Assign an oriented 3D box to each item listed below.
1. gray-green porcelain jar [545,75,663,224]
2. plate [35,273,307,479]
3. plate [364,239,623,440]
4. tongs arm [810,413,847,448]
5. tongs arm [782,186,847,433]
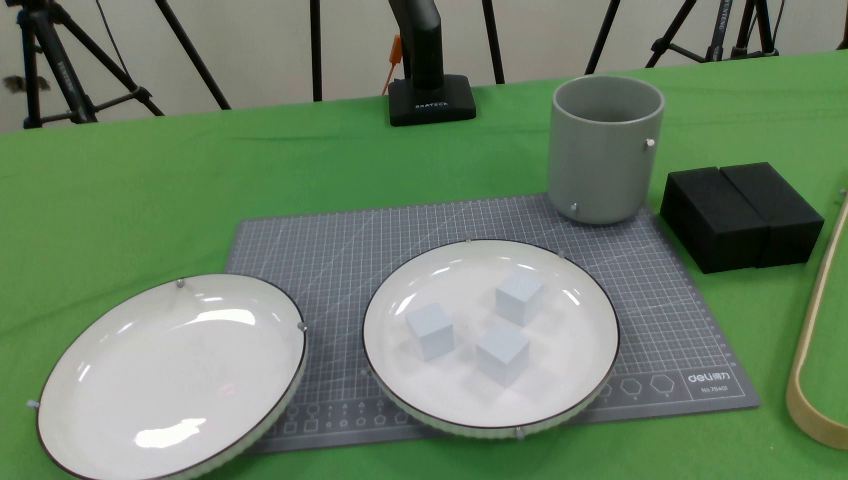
[{"bbox_3d":[0.179,-0.088,0.621,0.106,0.128,0.105,-3,40,3],"label":"gray-green porcelain jar"},{"bbox_3d":[-0.196,0.110,0.493,0.209,0.038,0.207,-4,40,4],"label":"plate"},{"bbox_3d":[0.056,0.078,0.503,0.207,0.039,0.205,-3,39,3],"label":"plate"},{"bbox_3d":[0.435,0.049,0.504,0.385,0.027,0.050,-33,47,-28],"label":"tongs arm"},{"bbox_3d":[0.376,0.018,0.550,0.028,0.028,0.386,24,48,26],"label":"tongs arm"}]
